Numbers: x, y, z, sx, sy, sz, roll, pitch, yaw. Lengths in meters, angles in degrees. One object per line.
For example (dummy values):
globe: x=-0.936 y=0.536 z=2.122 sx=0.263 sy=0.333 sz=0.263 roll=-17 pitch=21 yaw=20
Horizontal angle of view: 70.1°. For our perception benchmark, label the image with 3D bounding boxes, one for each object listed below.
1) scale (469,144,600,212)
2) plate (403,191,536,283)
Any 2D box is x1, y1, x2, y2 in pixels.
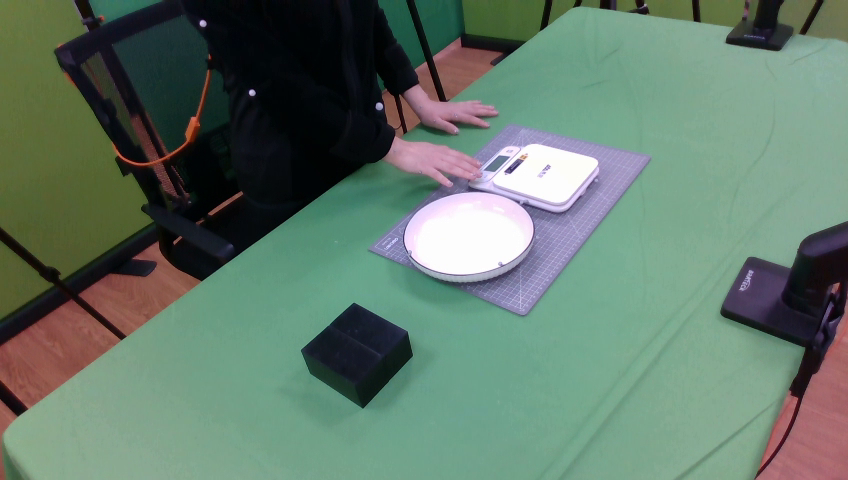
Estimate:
scale: x=0.194 y=-0.117 z=1.075 sx=0.199 sy=0.032 sz=0.149 roll=21 pitch=48 yaw=32
plate: x=0.071 y=-0.003 z=0.959 sx=0.209 sy=0.038 sz=0.208 roll=-5 pitch=41 yaw=5
